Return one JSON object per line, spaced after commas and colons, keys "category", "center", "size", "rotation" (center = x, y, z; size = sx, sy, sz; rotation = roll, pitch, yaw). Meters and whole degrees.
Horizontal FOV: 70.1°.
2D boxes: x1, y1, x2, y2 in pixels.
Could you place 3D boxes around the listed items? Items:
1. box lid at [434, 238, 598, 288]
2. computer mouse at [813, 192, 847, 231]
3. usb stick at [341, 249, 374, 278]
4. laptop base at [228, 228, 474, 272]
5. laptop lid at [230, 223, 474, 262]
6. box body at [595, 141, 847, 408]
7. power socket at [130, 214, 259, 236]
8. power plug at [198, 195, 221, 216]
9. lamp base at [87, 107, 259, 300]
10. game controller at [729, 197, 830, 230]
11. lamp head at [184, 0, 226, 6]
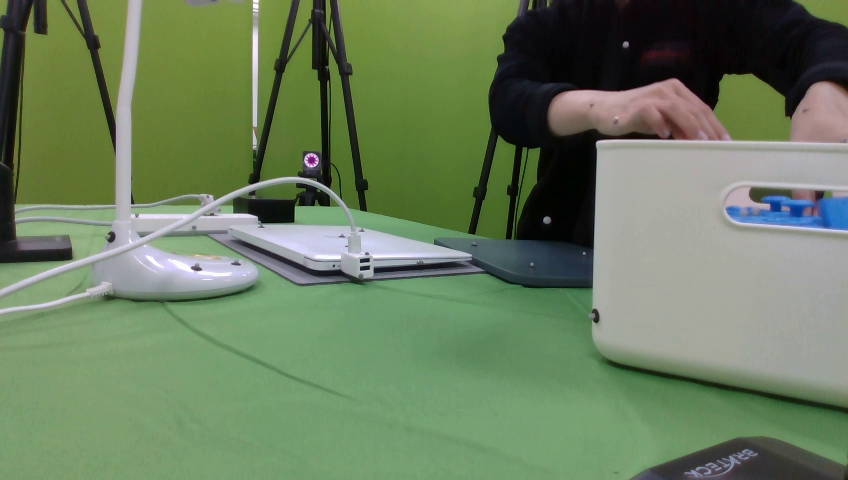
{"category": "box lid", "center": [0.185, 0.029, 0.896], "size": [0.264, 0.015, 0.370], "rotation": [1, 7, -17]}
{"category": "computer mouse", "center": [0.344, -0.015, 0.471], "size": [0.062, 0.041, 0.117], "rotation": [6, 13, 26]}
{"category": "usb stick", "center": [-0.078, 0.026, 0.686], "size": [0.021, 0.027, 0.059], "rotation": [-8, 8, -30]}
{"category": "laptop base", "center": [-0.123, 0.012, 0.889], "size": [0.237, 0.023, 0.352], "rotation": [2, 6, -35]}
{"category": "laptop lid", "center": [-0.121, 0.000, 0.888], "size": [0.243, 0.013, 0.355], "rotation": [1, 7, -33]}
{"category": "box body", "center": [0.309, 0.007, 0.509], "size": [0.253, 0.160, 0.366], "rotation": [6, 8, 29]}
{"category": "power socket", "center": [-0.397, -0.028, 1.048], "size": [0.228, 0.032, 0.072], "rotation": [-3, 7, -35]}
{"category": "power plug", "center": [-0.386, -0.055, 1.088], "size": [0.035, 0.052, 0.072], "rotation": [-1, 6, -24]}
{"category": "lamp base", "center": [-0.254, -0.039, 0.603], "size": [0.160, 0.180, 0.179], "rotation": [5, 10, 18]}
{"category": "game controller", "center": [0.257, -0.005, 0.445], "size": [0.097, 0.051, 0.155], "rotation": [0, 7, 15]}
{"category": "lamp head", "center": [-0.229, -0.320, 0.627], "size": [0.112, 0.112, 0.123], "rotation": [6, -35, 26]}
